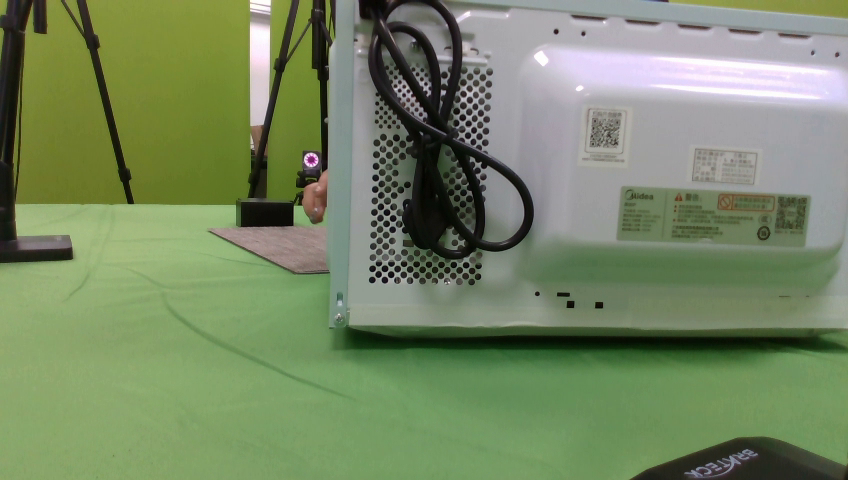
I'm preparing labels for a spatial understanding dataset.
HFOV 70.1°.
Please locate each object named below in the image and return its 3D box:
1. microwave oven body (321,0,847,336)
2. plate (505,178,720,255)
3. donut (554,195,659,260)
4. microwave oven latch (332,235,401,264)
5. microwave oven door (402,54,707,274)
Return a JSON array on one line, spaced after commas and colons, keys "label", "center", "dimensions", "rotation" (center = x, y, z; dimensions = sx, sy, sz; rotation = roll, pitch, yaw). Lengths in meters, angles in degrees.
[{"label": "microwave oven body", "center": [0.133, -0.062, 0.567], "dimensions": [0.443, 0.260, 0.325], "rotation": [2, 7, -8]}, {"label": "plate", "center": [0.184, -0.025, 0.615], "dimensions": [0.209, 0.038, 0.209], "rotation": [5, 16, -1]}, {"label": "donut", "center": [0.172, -0.014, 0.574], "dimensions": [0.099, 0.048, 0.099], "rotation": [-13, 11, 3]}, {"label": "microwave oven latch", "center": [-0.066, 0.010, 0.700], "dimensions": [0.079, 0.029, 0.030], "rotation": [2, 7, -8]}, {"label": "microwave oven door", "center": [0.156, -0.085, 0.717], "dimensions": [0.357, 0.243, 0.039], "rotation": [1, 8, -8]}]
